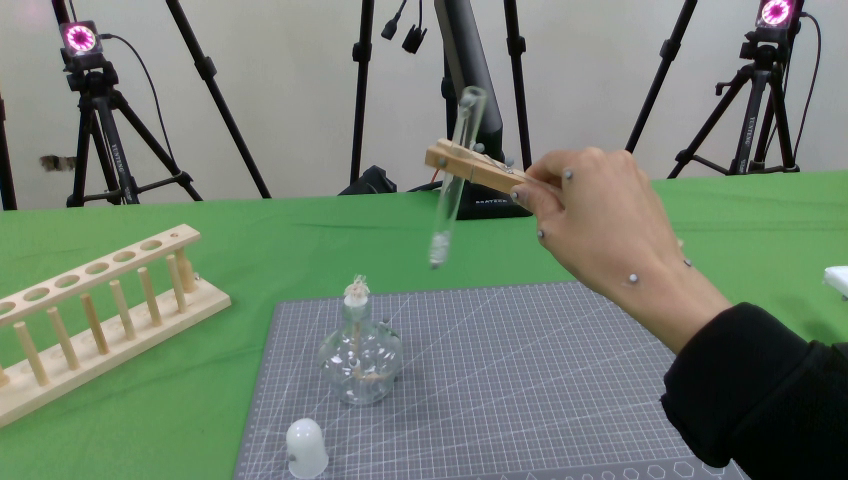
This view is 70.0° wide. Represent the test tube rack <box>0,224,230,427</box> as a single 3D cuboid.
[{"bbox_3d":[-0.327,0.075,0.612,0.066,0.086,0.242,23,39,35],"label":"test tube rack"}]

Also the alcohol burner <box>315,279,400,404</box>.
[{"bbox_3d":[-0.060,0.087,0.544,0.078,0.120,0.077,-1,29,1],"label":"alcohol burner"}]

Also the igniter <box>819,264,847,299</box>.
[{"bbox_3d":[0.435,0.093,0.505,0.057,0.025,0.274,-5,27,-3],"label":"igniter"}]

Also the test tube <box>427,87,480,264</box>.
[{"bbox_3d":[0.020,-0.040,0.438,0.017,0.151,0.017,6,40,-5],"label":"test tube"}]

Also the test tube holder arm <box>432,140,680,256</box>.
[{"bbox_3d":[0.082,-0.031,0.405,0.177,0.015,0.013,24,45,20],"label":"test tube holder arm"}]

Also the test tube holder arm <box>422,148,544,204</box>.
[{"bbox_3d":[0.040,-0.044,0.415,0.087,0.015,0.010,19,43,15],"label":"test tube holder arm"}]

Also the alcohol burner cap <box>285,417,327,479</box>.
[{"bbox_3d":[-0.097,0.164,0.487,0.034,0.048,0.033,-1,31,1],"label":"alcohol burner cap"}]
